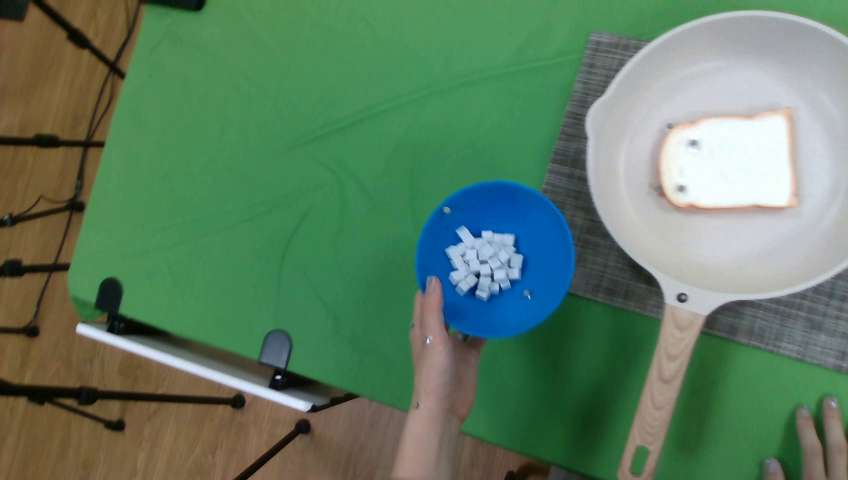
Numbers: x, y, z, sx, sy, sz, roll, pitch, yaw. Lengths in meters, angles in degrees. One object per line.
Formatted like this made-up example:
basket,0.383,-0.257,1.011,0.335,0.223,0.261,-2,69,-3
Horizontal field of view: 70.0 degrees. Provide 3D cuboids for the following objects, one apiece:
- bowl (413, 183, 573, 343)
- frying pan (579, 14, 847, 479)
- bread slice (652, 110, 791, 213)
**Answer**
bowl,0.071,0.027,0.592,0.151,0.077,0.150,-3,78,15
frying pan,0.277,0.015,0.613,0.305,0.103,0.486,18,81,17
bread slice,0.317,-0.077,0.653,0.134,0.018,0.106,-6,83,13
